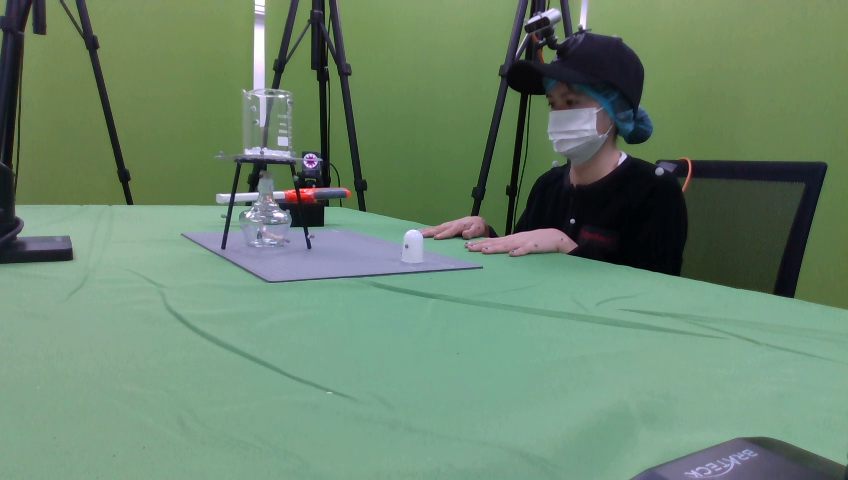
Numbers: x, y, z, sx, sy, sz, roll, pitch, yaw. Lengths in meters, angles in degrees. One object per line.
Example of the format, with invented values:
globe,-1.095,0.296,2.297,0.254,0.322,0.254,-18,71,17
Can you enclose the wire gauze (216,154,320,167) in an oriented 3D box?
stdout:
wire gauze,-0.236,-0.121,0.906,0.126,0.011,0.121,0,8,-33

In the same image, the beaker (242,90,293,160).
beaker,-0.235,-0.169,0.900,0.074,0.100,0.084,4,7,23

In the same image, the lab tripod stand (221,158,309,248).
lab tripod stand,-0.244,-0.057,0.917,0.148,0.131,0.148,1,7,0

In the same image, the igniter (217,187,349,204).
igniter,-0.285,-0.093,1.256,0.278,0.025,0.057,-6,12,-34

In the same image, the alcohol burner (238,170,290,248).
alcohol burner,-0.244,-0.048,0.927,0.078,0.119,0.078,3,5,0

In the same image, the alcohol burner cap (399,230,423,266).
alcohol burner cap,-0.017,0.010,0.837,0.034,0.048,0.034,3,7,0
